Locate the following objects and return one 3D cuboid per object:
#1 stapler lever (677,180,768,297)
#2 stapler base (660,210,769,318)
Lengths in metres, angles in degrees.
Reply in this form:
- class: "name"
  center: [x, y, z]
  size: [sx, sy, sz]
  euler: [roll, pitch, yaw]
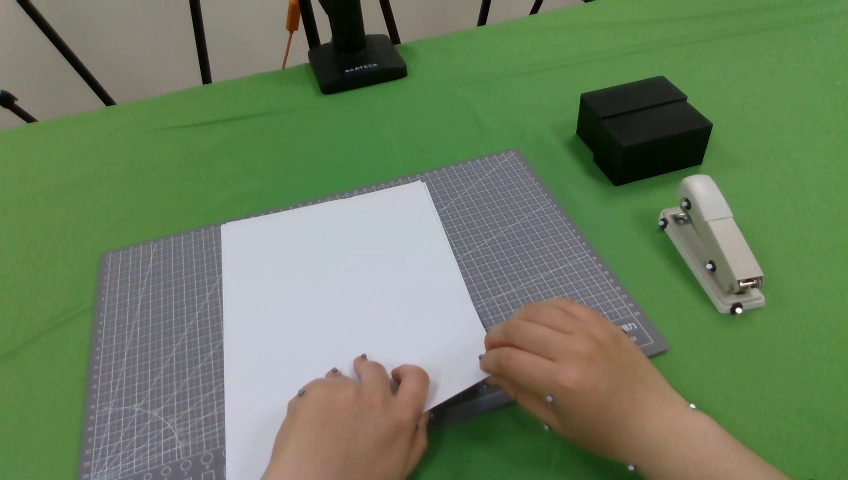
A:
- class: "stapler lever"
  center: [0.254, -0.006, 0.520]
  size: [0.027, 0.040, 0.116]
  euler: [-12, 45, -2]
- class: "stapler base"
  center: [0.256, 0.011, 0.538]
  size: [0.041, 0.025, 0.129]
  euler: [-12, 45, -2]
